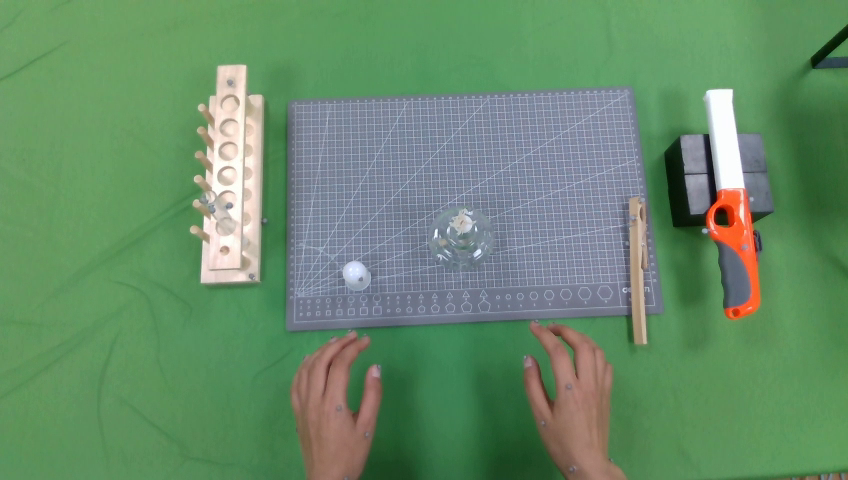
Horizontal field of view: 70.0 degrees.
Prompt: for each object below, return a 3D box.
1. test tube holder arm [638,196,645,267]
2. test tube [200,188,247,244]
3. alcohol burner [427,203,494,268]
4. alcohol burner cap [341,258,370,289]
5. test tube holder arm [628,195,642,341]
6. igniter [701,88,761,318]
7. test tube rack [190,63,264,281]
[{"bbox_3d":[0.261,-0.010,0.739,0.010,0.015,0.087,14,73,-28],"label":"test tube holder arm"},{"bbox_3d":[-0.213,-0.023,0.653,0.017,0.151,0.017,1,73,-4],"label":"test tube"},{"bbox_3d":[0.042,-0.009,0.687,0.078,0.119,0.077,0,77,1],"label":"alcohol burner"},{"bbox_3d":[-0.082,0.037,0.710,0.034,0.048,0.033,0,75,0],"label":"alcohol burner cap"},{"bbox_3d":[0.253,0.032,0.724,0.013,0.015,0.177,14,73,-28],"label":"test tube holder arm"},{"bbox_3d":[0.352,-0.048,0.701,0.057,0.025,0.275,-1,75,5],"label":"igniter"},{"bbox_3d":[-0.236,-0.079,0.717,0.067,0.085,0.241,-2,76,0],"label":"test tube rack"}]
